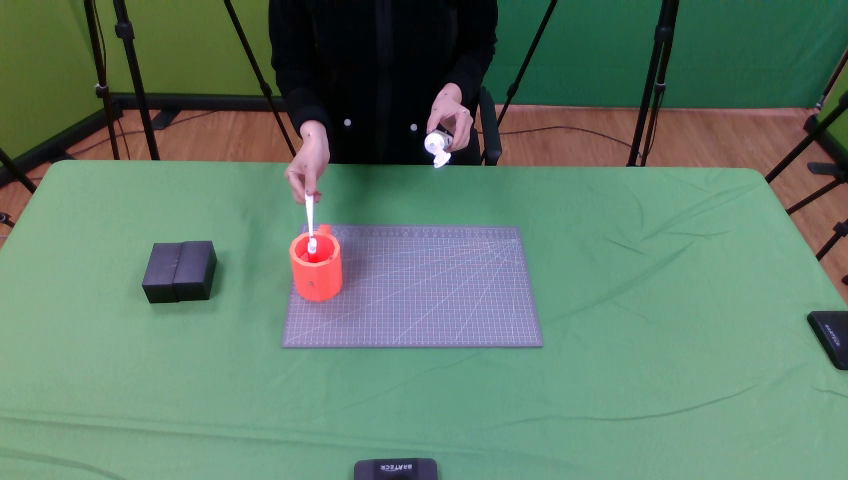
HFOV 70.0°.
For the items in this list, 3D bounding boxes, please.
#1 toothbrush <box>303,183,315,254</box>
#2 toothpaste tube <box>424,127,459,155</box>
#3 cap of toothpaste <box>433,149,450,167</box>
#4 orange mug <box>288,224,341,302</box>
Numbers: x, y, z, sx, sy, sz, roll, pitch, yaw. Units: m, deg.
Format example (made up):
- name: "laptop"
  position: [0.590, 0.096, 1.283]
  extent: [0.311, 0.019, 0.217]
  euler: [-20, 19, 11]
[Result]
- name: "toothbrush"
  position: [-0.196, -0.042, 1.032]
  extent: [0.014, 0.017, 0.180]
  euler: [4, 41, -17]
- name: "toothpaste tube"
  position: [0.029, -0.181, 1.084]
  extent: [0.055, 0.034, 0.164]
  euler: [29, 21, 0]
- name: "cap of toothpaste"
  position: [0.027, -0.138, 1.005]
  extent: [0.037, 0.011, 0.037]
  euler: [-35, 27, 22]
- name: "orange mug"
  position: [-0.192, 0.034, 1.094]
  extent: [0.083, 0.101, 0.125]
  euler: [7, 50, 2]
